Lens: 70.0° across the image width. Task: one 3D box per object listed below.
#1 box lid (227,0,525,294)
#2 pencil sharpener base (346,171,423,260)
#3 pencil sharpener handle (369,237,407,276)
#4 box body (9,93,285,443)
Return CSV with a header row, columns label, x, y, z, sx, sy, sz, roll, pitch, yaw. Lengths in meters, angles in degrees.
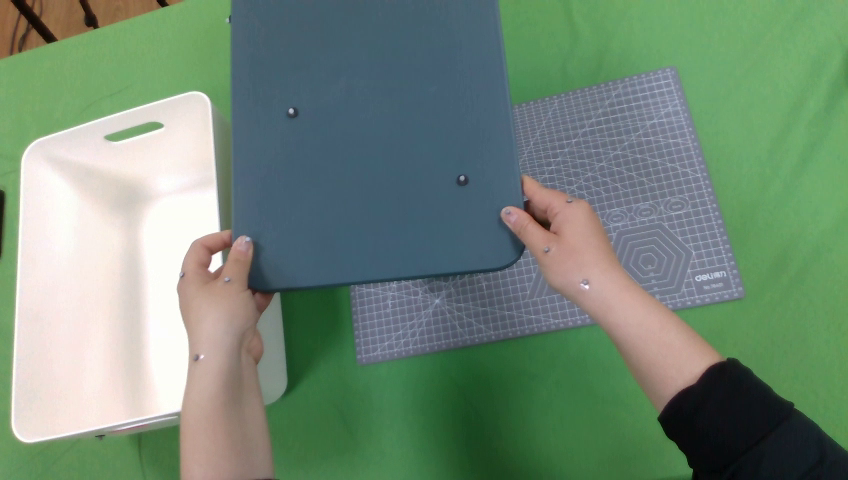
label,x,y,z,sx,sy,sz,roll,pitch,yaw
box lid,-0.055,-0.141,0.569,0.263,0.015,0.369,-6,76,3
pencil sharpener base,-0.044,-0.023,0.720,0.061,0.108,0.076,-12,72,9
pencil sharpener handle,-0.037,0.021,0.692,0.036,0.068,0.030,-15,71,18
box body,-0.325,0.041,0.737,0.254,0.161,0.361,-14,71,8
